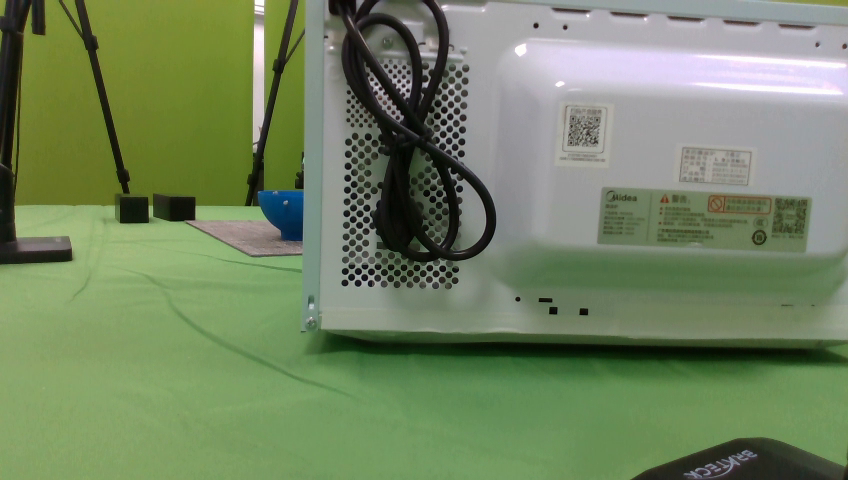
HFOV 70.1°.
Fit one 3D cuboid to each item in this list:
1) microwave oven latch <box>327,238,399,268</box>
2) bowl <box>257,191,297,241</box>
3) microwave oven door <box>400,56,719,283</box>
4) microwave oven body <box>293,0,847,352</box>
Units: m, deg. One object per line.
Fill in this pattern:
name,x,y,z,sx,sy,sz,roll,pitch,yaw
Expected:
microwave oven latch,-0.069,0.015,0.694,0.079,0.029,0.030,3,7,-3
bowl,-0.206,-0.041,1.027,0.151,0.077,0.151,3,8,0
microwave oven door,0.155,-0.077,0.697,0.356,0.243,0.039,2,8,-5
microwave oven body,0.122,-0.055,0.550,0.442,0.260,0.325,3,7,-5
